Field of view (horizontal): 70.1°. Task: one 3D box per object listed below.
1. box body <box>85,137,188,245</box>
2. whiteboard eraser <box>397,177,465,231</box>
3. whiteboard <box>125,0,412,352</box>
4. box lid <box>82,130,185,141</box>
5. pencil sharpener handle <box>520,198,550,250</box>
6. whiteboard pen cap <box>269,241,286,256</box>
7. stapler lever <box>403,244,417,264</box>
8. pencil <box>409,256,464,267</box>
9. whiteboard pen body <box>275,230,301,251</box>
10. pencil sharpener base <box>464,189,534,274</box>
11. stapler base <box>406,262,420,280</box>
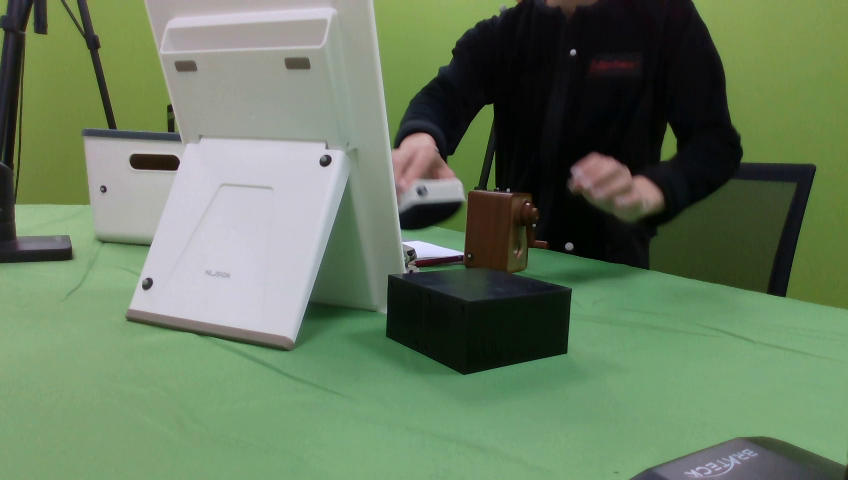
[{"bbox_3d":[-0.340,-0.088,1.022,0.254,0.160,0.364,4,7,11],"label":"box body"},{"bbox_3d":[-0.002,-0.035,0.627,0.056,0.042,0.112,0,-9,-18],"label":"whiteboard eraser"},{"bbox_3d":[-0.151,-0.050,0.471,0.216,0.305,0.144,6,27,24],"label":"whiteboard"},{"bbox_3d":[-0.337,-0.161,1.011,0.263,0.015,0.372,4,7,11],"label":"box lid"},{"bbox_3d":[0.147,-0.020,0.785,0.030,0.068,0.036,8,26,36],"label":"pencil sharpener handle"},{"bbox_3d":[-0.202,0.012,0.836,0.018,0.018,0.033,2,9,-1],"label":"whiteboard pen cap"},{"bbox_3d":[-0.066,0.003,0.754,0.117,0.040,0.027,9,14,23],"label":"stapler lever"},{"bbox_3d":[0.041,0.028,0.848,0.012,0.012,0.195,10,10,43],"label":"pencil"},{"bbox_3d":[-0.203,0.002,0.894,0.017,0.017,0.140,2,9,-1],"label":"whiteboard pen body"},{"bbox_3d":[0.103,-0.012,0.812,0.076,0.107,0.061,8,9,36],"label":"pencil sharpener base"},{"bbox_3d":[-0.069,0.027,0.759,0.130,0.024,0.041,10,14,23],"label":"stapler base"}]
